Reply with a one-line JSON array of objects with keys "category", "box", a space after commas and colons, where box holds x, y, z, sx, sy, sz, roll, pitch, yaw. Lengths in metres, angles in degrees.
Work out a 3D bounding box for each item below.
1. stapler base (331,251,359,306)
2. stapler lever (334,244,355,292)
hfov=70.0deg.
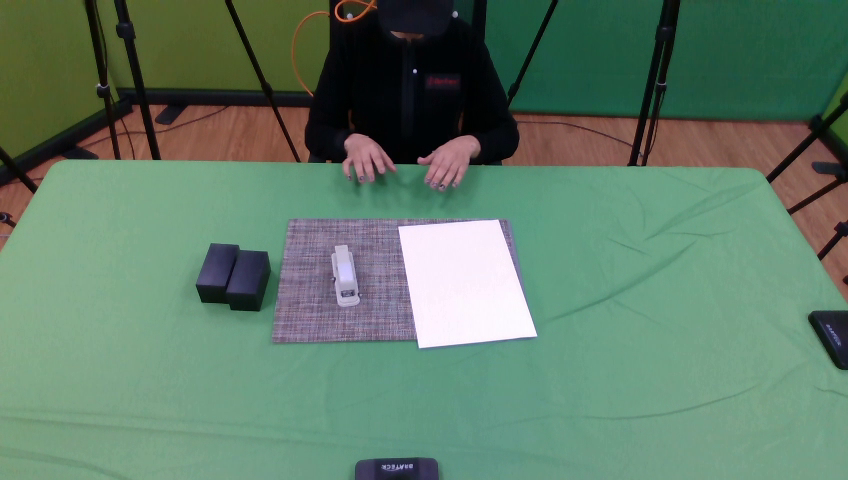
[{"category": "stapler base", "box": [-0.147, 0.064, 1.119, 0.041, 0.024, 0.129, -4, 45, -13]}, {"category": "stapler lever", "box": [-0.146, 0.045, 1.103, 0.027, 0.040, 0.117, -4, 45, -12]}]
